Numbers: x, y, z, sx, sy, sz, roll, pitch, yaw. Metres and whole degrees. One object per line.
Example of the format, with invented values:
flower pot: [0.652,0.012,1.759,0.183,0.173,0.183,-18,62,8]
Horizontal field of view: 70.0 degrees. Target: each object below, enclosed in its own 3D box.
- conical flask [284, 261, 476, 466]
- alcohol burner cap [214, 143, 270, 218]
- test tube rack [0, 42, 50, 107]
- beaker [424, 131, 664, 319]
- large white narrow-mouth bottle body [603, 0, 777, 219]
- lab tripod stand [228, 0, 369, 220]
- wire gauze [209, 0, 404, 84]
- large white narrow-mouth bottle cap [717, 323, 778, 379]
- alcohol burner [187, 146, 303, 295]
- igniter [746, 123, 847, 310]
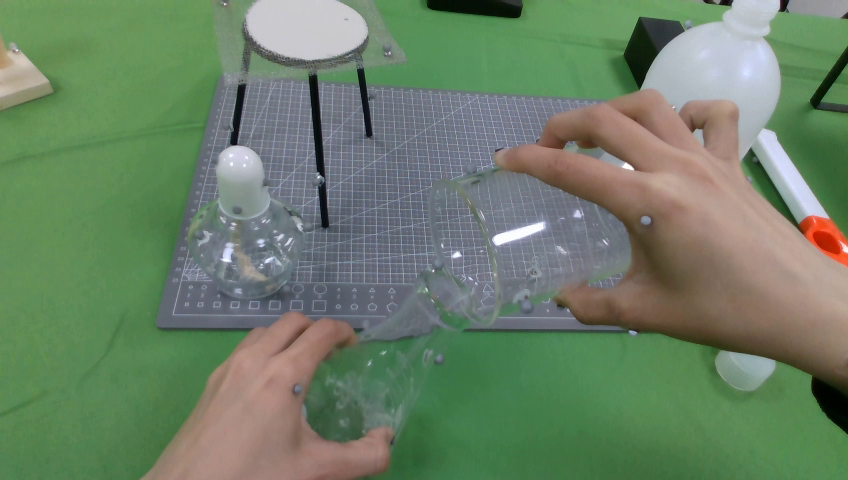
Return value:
conical flask: [-0.020,0.067,0.344,0.076,0.122,0.074,30,28,-18]
alcohol burner cap: [-0.116,-0.039,0.381,0.034,0.048,0.033,4,55,-6]
test tube rack: [-0.444,-0.127,0.470,0.066,0.086,0.242,40,54,23]
beaker: [0.060,-0.009,0.307,0.100,0.084,0.073,-18,59,-17]
large white narrow-mouth bottle body: [0.225,-0.114,0.499,0.102,0.196,0.101,4,49,-5]
lab tripod stand: [-0.093,-0.111,0.482,0.149,0.132,0.147,6,49,-7]
wire gauze: [-0.088,-0.157,0.433,0.122,0.011,0.123,-9,53,-18]
large white narrow-mouth bottle cap: [0.241,0.083,0.452,0.038,0.024,0.037,5,49,-5]
alcohol burner: [-0.121,-0.017,0.409,0.078,0.120,0.077,6,47,-6]
igniter: [0.357,-0.014,0.551,0.057,0.025,0.273,10,47,-16]
